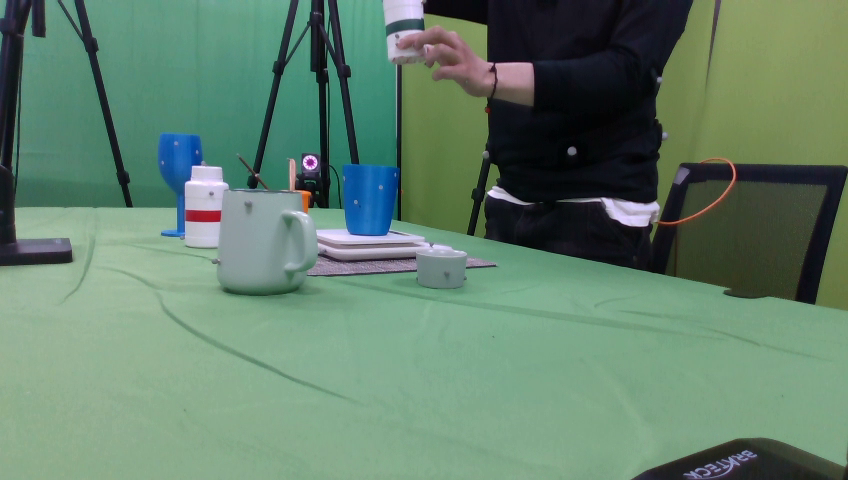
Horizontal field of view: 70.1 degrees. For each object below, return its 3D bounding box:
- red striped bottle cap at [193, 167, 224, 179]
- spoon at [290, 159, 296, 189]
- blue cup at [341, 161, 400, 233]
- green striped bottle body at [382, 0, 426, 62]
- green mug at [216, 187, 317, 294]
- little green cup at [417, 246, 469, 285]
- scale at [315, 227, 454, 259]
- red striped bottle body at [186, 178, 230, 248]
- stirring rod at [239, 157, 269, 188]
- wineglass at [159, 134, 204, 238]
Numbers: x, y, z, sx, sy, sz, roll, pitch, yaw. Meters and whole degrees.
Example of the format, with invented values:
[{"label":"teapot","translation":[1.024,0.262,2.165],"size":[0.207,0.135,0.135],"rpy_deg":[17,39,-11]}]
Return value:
[{"label":"red striped bottle cap","translation":[-0.329,-0.103,0.921],"size":[0.044,0.017,0.044],"rpy_deg":[0,8,0]},{"label":"spoon","translation":[-0.273,-0.102,1.252],"size":[0.042,0.193,0.021],"rpy_deg":[7,-39,-17]},{"label":"blue cup","translation":[-0.080,-0.062,0.883],"size":[0.093,0.100,0.092],"rpy_deg":[3,4,0]},{"label":"green striped bottle body","translation":[-0.032,-0.347,0.952],"size":[0.063,0.119,0.063],"rpy_deg":[-6,5,1]},{"label":"green mug","translation":[-0.157,0.000,0.629],"size":[0.124,0.105,0.093],"rpy_deg":[8,9,37]},{"label":"little green cup","translation":[0.021,0.029,0.701],"size":[0.061,0.038,0.061],"rpy_deg":[1,6,0]},{"label":"scale","translation":[-0.066,0.001,0.906],"size":[0.202,0.031,0.148],"rpy_deg":[-2,8,-31]},{"label":"red striped bottle body","translation":[-0.331,-0.050,0.927],"size":[0.063,0.119,0.063],"rpy_deg":[2,7,0]},{"label":"stirring rod","translation":[-0.309,-0.098,1.209],"size":[0.006,0.177,0.014],"rpy_deg":[-39,29,-4]},{"label":"wineglass","translation":[-0.415,-0.093,1.040],"size":[0.074,0.172,0.073],"rpy_deg":[2,7,0]}]
